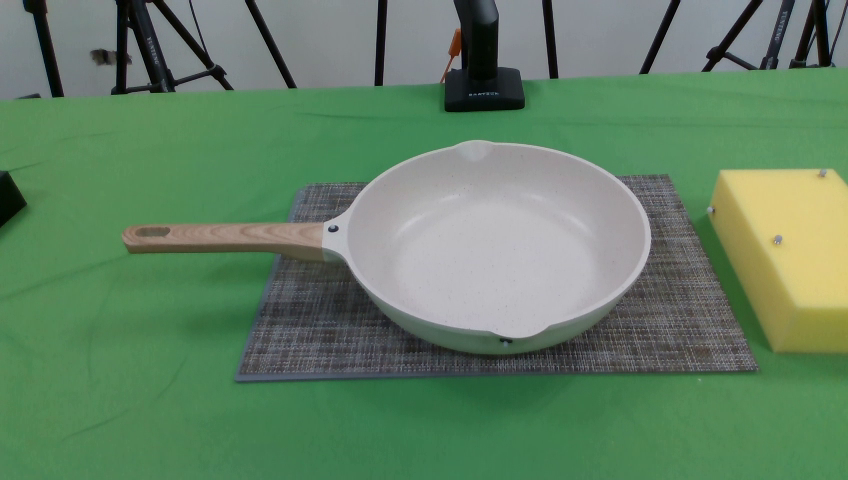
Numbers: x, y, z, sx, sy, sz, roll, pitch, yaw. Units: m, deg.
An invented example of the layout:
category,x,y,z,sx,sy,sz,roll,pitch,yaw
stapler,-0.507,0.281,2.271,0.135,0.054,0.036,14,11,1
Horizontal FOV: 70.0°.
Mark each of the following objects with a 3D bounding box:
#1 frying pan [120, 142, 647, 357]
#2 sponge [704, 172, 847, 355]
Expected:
category,x,y,z,sx,sy,sz,roll,pitch,yaw
frying pan,-0.039,0.002,0.592,0.489,0.103,0.303,2,38,-6
sponge,0.366,0.014,0.583,0.118,0.061,0.205,-1,39,4
